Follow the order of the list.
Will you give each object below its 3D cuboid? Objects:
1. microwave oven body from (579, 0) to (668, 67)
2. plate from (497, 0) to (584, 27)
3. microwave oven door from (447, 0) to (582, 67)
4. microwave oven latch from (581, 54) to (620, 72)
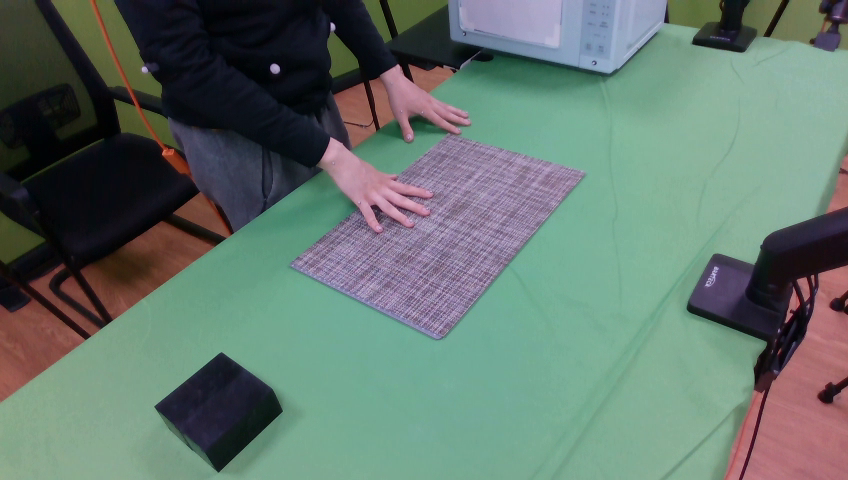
[{"bbox_3d":[0.325,-0.609,1.437,0.438,0.261,0.327,23,50,30],"label":"microwave oven body"},{"bbox_3d":[0.286,-0.572,1.488,0.209,0.038,0.208,-5,41,5],"label":"plate"},{"bbox_3d":[0.203,-0.544,1.372,0.353,0.245,0.039,23,49,29],"label":"microwave oven door"},{"bbox_3d":[0.386,-0.393,1.330,0.078,0.029,0.030,24,51,32],"label":"microwave oven latch"}]
